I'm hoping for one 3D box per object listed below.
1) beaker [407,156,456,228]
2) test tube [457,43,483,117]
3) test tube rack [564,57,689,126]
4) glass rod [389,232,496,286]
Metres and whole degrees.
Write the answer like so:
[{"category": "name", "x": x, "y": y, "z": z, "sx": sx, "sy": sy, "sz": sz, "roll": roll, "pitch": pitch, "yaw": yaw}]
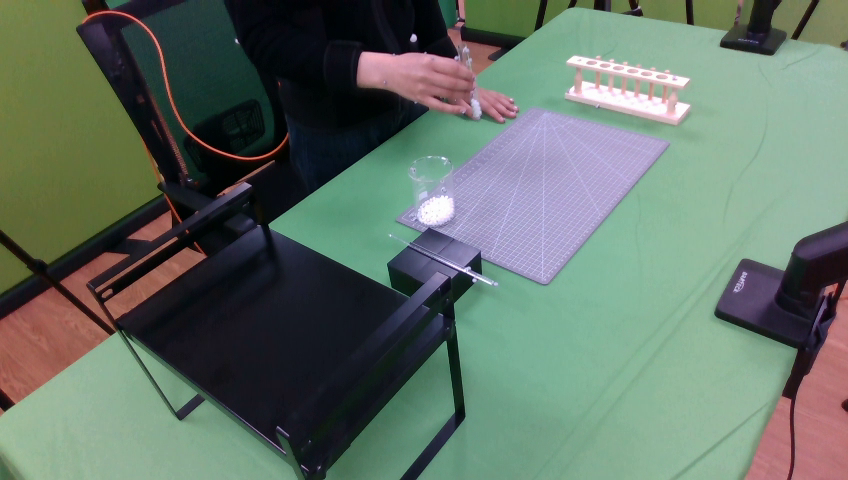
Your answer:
[{"category": "beaker", "x": 0.017, "y": -0.079, "z": 1.002, "sx": 0.073, "sy": 0.101, "sz": 0.084, "roll": 25, "pitch": 49, "yaw": 33}, {"category": "test tube", "x": 0.076, "y": -0.258, "z": 0.988, "sx": 0.017, "sy": 0.151, "sz": 0.017, "roll": -8, "pitch": 54, "yaw": 12}, {"category": "test tube rack", "x": 0.411, "y": -0.311, "z": 1.230, "sx": 0.240, "sy": 0.085, "sz": 0.067, "roll": 23, "pitch": 49, "yaw": 32}, {"category": "glass rod", "x": 0.022, "y": 0.025, "z": 0.878, "sx": 0.198, "sy": 0.008, "sz": 0.008, "roll": 25, "pitch": 50, "yaw": 33}]
